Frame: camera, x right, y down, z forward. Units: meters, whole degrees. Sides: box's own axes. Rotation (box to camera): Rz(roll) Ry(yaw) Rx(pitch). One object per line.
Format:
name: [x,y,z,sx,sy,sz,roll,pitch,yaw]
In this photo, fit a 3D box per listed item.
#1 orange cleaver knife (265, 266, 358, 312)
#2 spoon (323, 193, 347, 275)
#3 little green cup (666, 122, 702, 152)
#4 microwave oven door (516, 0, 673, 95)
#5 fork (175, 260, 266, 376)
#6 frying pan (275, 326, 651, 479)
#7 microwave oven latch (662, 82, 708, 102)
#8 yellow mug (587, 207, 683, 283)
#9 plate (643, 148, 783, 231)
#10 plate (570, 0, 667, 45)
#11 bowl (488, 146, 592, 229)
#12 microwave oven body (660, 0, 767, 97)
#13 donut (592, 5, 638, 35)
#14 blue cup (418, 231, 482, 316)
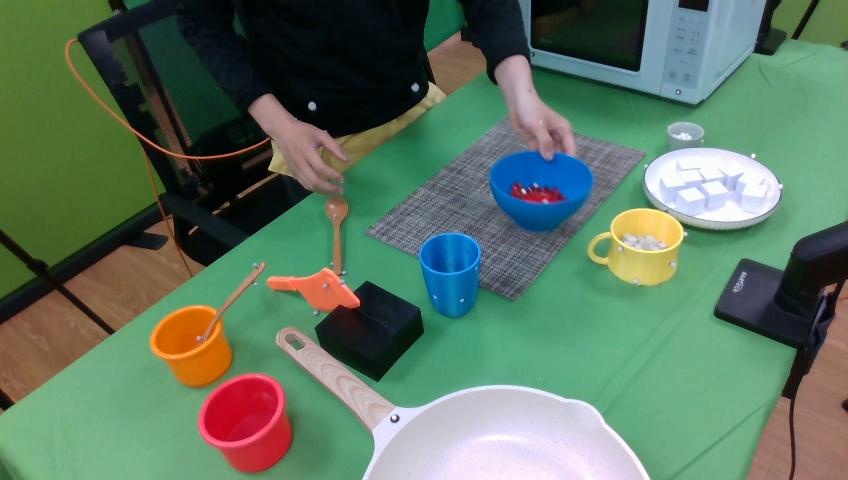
orange cleaver knife: [-0.164,0.073,0.864,0.210,0.077,0.012,-6,30,50]
spoon: [-0.148,-0.014,1.008,0.042,0.022,0.192,1,40,-9]
little green cup: [0.471,-0.184,1.102,0.061,0.039,0.061,-5,40,4]
microwave oven door: [0.344,-0.458,1.256,0.353,0.245,0.039,26,51,33]
fork: [-0.268,0.102,0.792,0.207,0.019,0.028,-51,41,16]
frying pan: [0.004,0.229,0.641,0.484,0.103,0.308,34,54,28]
microwave oven latch: [0.518,-0.298,1.202,0.078,0.029,0.030,27,52,34]
yellow mug: [0.305,0.008,0.884,0.131,0.064,0.099,-4,41,5]
plate: [0.464,-0.080,0.985,0.207,0.039,0.206,-4,41,4]
plate: [0.436,-0.490,1.368,0.209,0.038,0.208,-6,40,5]
bowl: [0.169,-0.070,0.899,0.151,0.077,0.150,-2,38,2]
microwave oven body: [0.474,-0.516,1.313,0.438,0.261,0.327,26,51,34]
donut: [0.427,-0.492,1.351,0.099,0.048,0.098,-7,40,6]
blue cup: [0.040,0.053,0.843,0.092,0.100,0.092,-4,43,4]
